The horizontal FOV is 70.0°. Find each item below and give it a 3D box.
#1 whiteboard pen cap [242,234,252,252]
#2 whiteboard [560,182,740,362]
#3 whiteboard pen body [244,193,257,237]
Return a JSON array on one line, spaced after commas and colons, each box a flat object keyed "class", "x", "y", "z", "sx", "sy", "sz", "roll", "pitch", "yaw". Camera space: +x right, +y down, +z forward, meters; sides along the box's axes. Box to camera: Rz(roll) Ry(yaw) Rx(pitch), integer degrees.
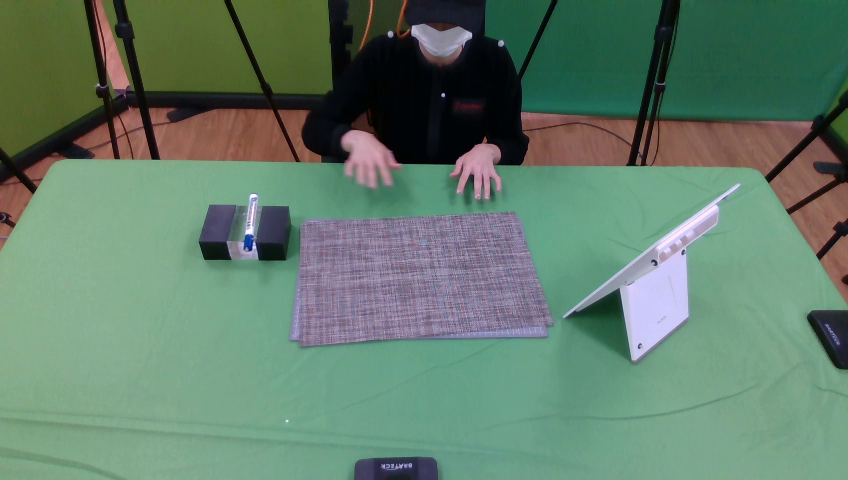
[{"class": "whiteboard pen cap", "x": -0.322, "y": 0.004, "z": 1.102, "sx": 0.018, "sy": 0.018, "sz": 0.033, "roll": -4, "pitch": 47, "yaw": -8}, {"class": "whiteboard", "x": 0.406, "y": 0.075, "z": 1.001, "sx": 0.217, "sy": 0.306, "sz": 0.143, "roll": -28, "pitch": 73, "yaw": -28}, {"class": "whiteboard pen body", "x": -0.328, "y": -0.039, "z": 1.145, "sx": 0.017, "sy": 0.017, "sz": 0.140, "roll": -3, "pitch": 46, "yaw": -7}]
